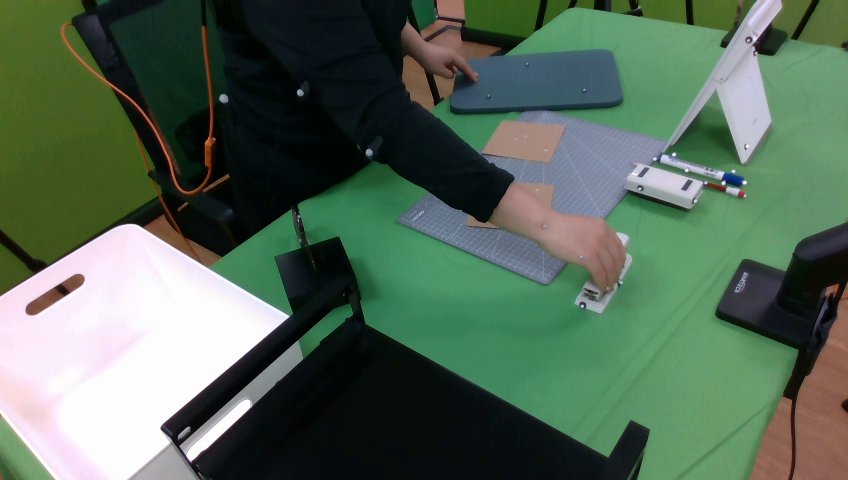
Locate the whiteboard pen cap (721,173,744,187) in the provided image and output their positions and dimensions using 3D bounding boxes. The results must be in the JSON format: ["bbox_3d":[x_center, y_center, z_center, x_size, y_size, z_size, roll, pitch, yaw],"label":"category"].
[{"bbox_3d":[0.520,-0.102,1.020,0.033,0.018,0.018,23,49,30],"label":"whiteboard pen cap"}]

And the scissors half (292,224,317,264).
[{"bbox_3d":[-0.186,0.007,0.954,0.013,0.040,0.174,-19,22,-15],"label":"scissors half"}]

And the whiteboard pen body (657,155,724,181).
[{"bbox_3d":[0.476,-0.122,1.052,0.139,0.017,0.017,24,50,31],"label":"whiteboard pen body"}]

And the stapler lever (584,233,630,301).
[{"bbox_3d":[0.261,0.035,0.857,0.026,0.040,0.118,18,46,29],"label":"stapler lever"}]

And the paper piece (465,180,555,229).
[{"bbox_3d":[0.150,-0.062,1.034,0.137,0.009,0.136,4,37,17],"label":"paper piece"}]

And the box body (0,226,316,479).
[{"bbox_3d":[-0.339,0.162,0.728,0.361,0.161,0.255,23,48,31],"label":"box body"}]

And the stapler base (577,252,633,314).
[{"bbox_3d":[0.264,0.051,0.874,0.041,0.024,0.131,18,49,29],"label":"stapler base"}]

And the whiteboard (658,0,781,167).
[{"bbox_3d":[0.572,-0.272,1.038,0.143,0.306,0.218,36,54,17],"label":"whiteboard"}]

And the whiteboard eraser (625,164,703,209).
[{"bbox_3d":[0.397,-0.086,1.003,0.112,0.042,0.056,23,48,31],"label":"whiteboard eraser"}]

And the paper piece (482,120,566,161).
[{"bbox_3d":[0.198,-0.199,1.188,0.135,0.004,0.135,10,44,21],"label":"paper piece"}]

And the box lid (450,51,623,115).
[{"bbox_3d":[0.251,-0.358,1.370,0.371,0.015,0.262,-1,40,9],"label":"box lid"}]

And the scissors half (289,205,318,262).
[{"bbox_3d":[-0.188,-0.010,0.944,0.013,0.040,0.173,-15,36,-18],"label":"scissors half"}]

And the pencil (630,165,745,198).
[{"bbox_3d":[0.448,-0.104,1.039,0.192,0.012,0.012,21,48,30],"label":"pencil"}]
